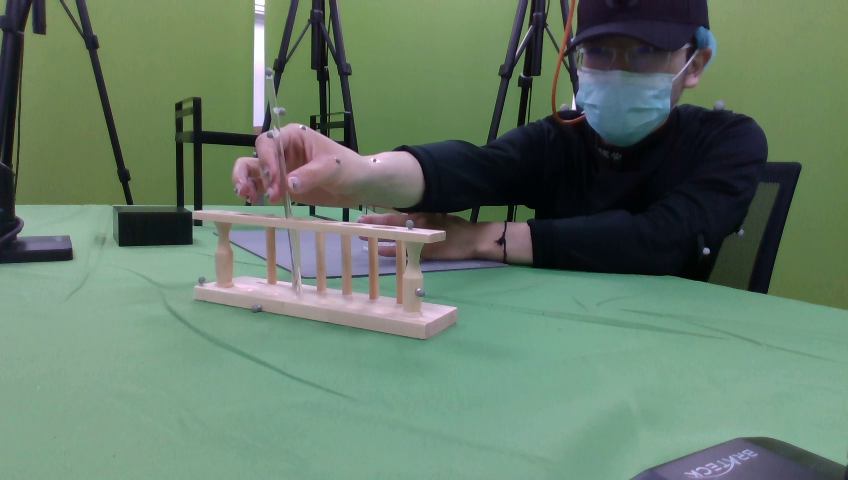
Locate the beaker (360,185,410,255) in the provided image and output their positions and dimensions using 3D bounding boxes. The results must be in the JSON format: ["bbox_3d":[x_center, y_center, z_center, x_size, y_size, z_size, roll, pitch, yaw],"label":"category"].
[{"bbox_3d":[-0.058,-0.031,0.907,0.074,0.100,0.083,-1,8,-22],"label":"beaker"}]

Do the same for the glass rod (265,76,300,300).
[{"bbox_3d":[-0.124,-0.043,0.533,0.008,0.199,0.008,-6,6,1],"label":"glass rod"}]

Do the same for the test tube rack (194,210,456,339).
[{"bbox_3d":[-0.093,0.023,0.546,0.241,0.085,0.067,6,7,25],"label":"test tube rack"}]
